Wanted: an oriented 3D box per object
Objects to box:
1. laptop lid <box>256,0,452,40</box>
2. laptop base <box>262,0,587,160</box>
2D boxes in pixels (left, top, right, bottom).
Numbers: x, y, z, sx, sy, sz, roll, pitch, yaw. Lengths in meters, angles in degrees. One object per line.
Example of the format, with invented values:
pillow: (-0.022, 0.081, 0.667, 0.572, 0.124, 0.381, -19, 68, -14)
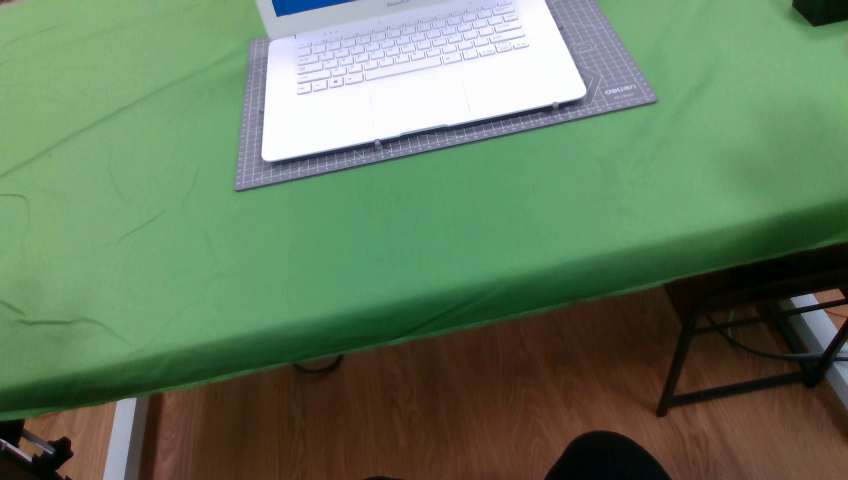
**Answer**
laptop lid: (-0.048, -0.377, 0.709, 0.357, 0.244, 0.013, -12, 41, 3)
laptop base: (-0.013, -0.202, 0.712, 0.354, 0.023, 0.233, -11, 52, 2)
